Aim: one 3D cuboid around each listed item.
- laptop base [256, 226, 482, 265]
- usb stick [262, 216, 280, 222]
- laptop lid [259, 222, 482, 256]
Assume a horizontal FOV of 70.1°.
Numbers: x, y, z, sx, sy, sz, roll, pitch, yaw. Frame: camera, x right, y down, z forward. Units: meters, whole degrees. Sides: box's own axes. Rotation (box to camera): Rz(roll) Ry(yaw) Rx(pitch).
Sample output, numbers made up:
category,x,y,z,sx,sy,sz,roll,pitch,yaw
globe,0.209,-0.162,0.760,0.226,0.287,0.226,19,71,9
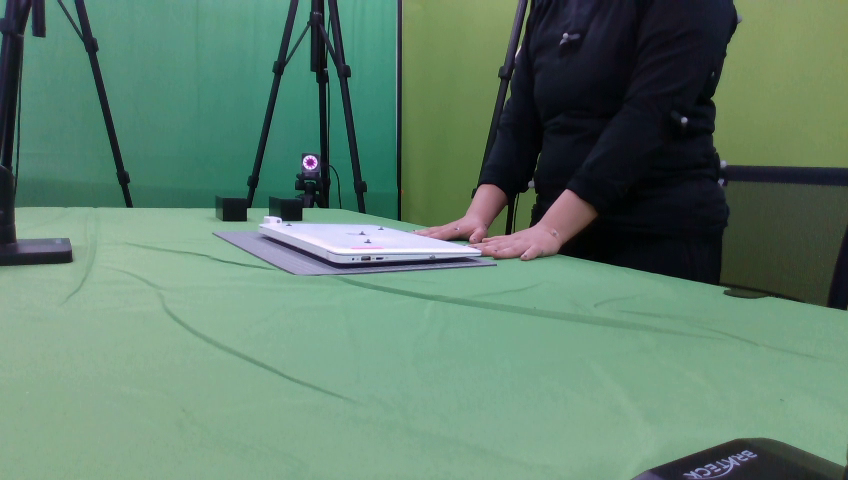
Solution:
category,x,y,z,sx,sy,sz,roll,pitch,yaw
laptop base,-0.103,0.007,0.961,0.237,0.023,0.352,2,6,-32
usb stick,-0.271,-0.028,1.079,0.021,0.027,0.059,-1,10,-29
laptop lid,-0.100,-0.005,0.961,0.243,0.013,0.355,1,7,-30
